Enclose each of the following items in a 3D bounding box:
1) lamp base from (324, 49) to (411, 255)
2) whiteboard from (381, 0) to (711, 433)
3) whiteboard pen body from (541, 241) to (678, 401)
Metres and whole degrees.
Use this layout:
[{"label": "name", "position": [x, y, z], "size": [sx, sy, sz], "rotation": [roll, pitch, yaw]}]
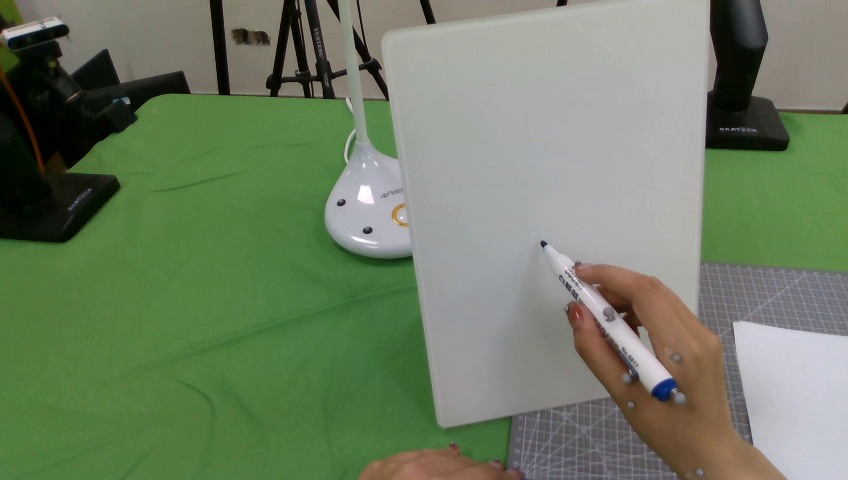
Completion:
[{"label": "lamp base", "position": [-0.047, -0.102, 0.650], "size": [0.161, 0.182, 0.177], "rotation": [-28, 43, -25]}, {"label": "whiteboard", "position": [0.091, -0.028, 0.498], "size": [0.217, 0.307, 0.142], "rotation": [-9, 21, -4]}, {"label": "whiteboard pen body", "position": [0.111, 0.044, 0.385], "size": [0.017, 0.017, 0.139], "rotation": [-17, 44, -14]}]
